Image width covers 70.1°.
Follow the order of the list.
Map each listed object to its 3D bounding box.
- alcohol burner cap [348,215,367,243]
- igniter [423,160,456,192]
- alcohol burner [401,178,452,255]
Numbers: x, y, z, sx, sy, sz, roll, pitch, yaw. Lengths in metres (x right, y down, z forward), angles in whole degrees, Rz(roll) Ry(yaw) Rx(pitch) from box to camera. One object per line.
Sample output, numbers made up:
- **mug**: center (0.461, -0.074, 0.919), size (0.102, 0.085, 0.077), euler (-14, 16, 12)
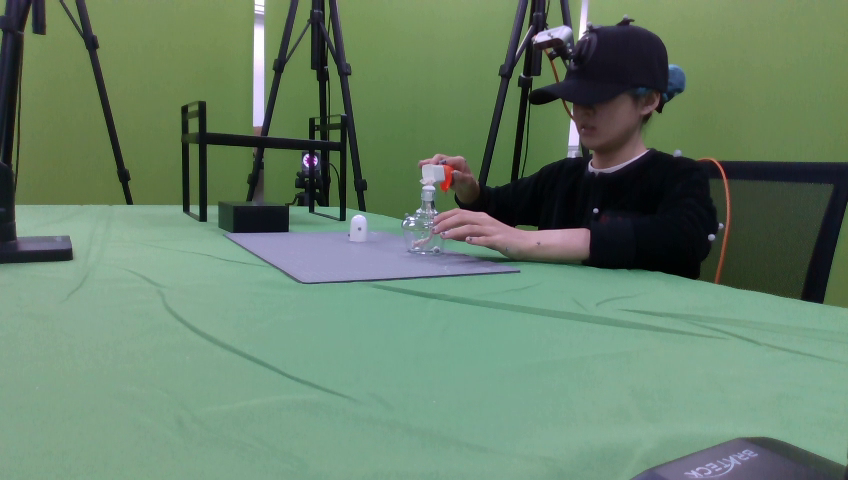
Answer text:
- **alcohol burner cap**: center (-0.112, -0.019, 1.025), size (0.034, 0.048, 0.034), euler (2, 6, 0)
- **igniter**: center (0.030, -0.113, 1.064), size (0.025, 0.057, 0.277), euler (-5, 5, 10)
- **alcohol burner**: center (0.005, -0.036, 0.922), size (0.078, 0.119, 0.078), euler (5, 7, 0)
